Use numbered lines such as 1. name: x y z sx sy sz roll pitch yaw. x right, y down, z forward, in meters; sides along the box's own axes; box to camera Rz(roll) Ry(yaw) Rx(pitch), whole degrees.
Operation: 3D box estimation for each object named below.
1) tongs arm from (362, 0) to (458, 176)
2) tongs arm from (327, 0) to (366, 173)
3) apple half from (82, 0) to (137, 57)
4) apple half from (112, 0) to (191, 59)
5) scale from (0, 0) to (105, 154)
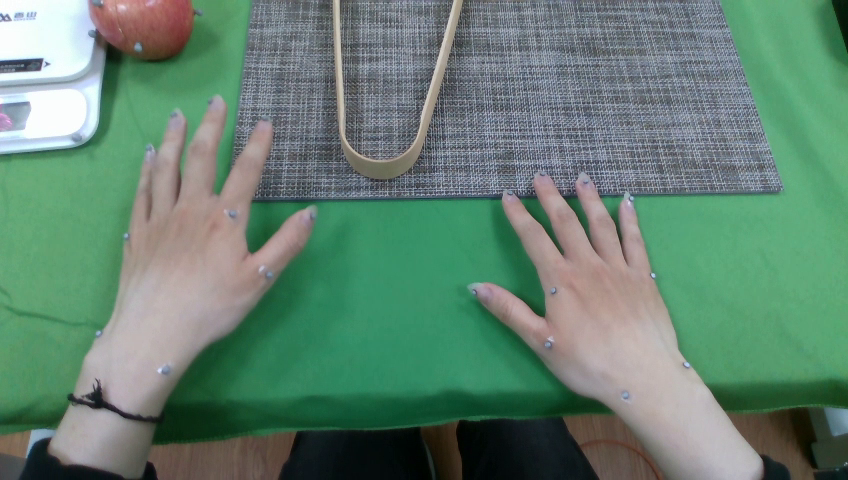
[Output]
1. tongs arm: 0.009 -0.224 0.557 0.051 0.027 0.382 10 65 2
2. tongs arm: -0.076 -0.230 0.559 0.028 0.028 0.384 -2 64 -7
3. apple half: -0.266 -0.191 0.510 0.033 0.082 0.080 -9 64 -10
4. apple half: -0.228 -0.198 0.516 0.053 0.075 0.080 -9 61 -9
5. scale: -0.351 -0.162 0.516 0.149 0.032 0.199 -6 65 -5
